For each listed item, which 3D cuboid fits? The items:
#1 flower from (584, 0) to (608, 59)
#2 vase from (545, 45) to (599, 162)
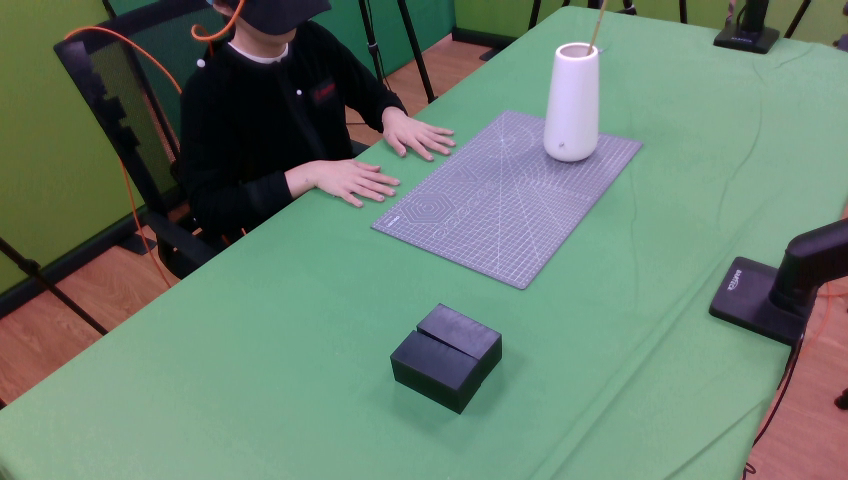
[{"bbox_3d":[0.274,-0.306,1.025,0.038,0.362,0.044,12,36,-1],"label":"flower"},{"bbox_3d":[0.266,-0.238,1.074,0.098,0.201,0.097,-4,42,4],"label":"vase"}]
